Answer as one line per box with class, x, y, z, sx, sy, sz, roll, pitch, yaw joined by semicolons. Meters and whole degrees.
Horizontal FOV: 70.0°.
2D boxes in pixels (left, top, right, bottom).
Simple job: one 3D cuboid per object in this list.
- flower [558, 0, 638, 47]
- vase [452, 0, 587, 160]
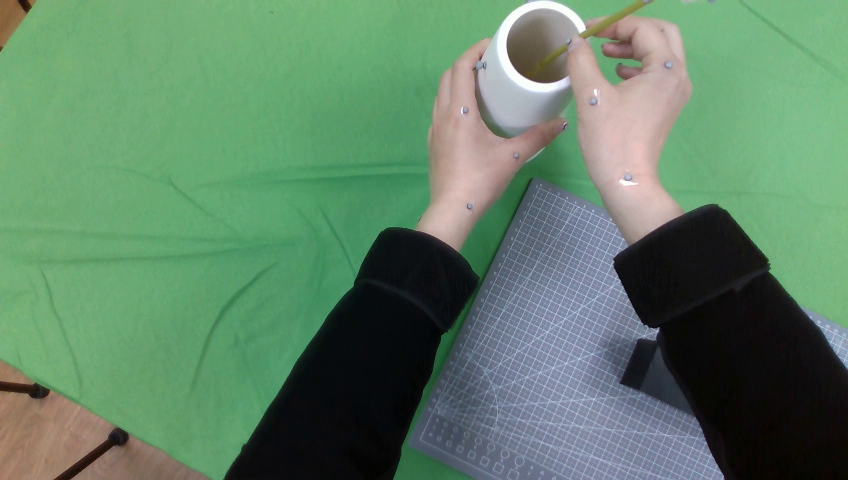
flower;0.102;-0.147;0.450;0.038;0.360;0.044;45;75;-13
vase;0.081;-0.136;0.531;0.098;0.200;0.098;0;84;-4
